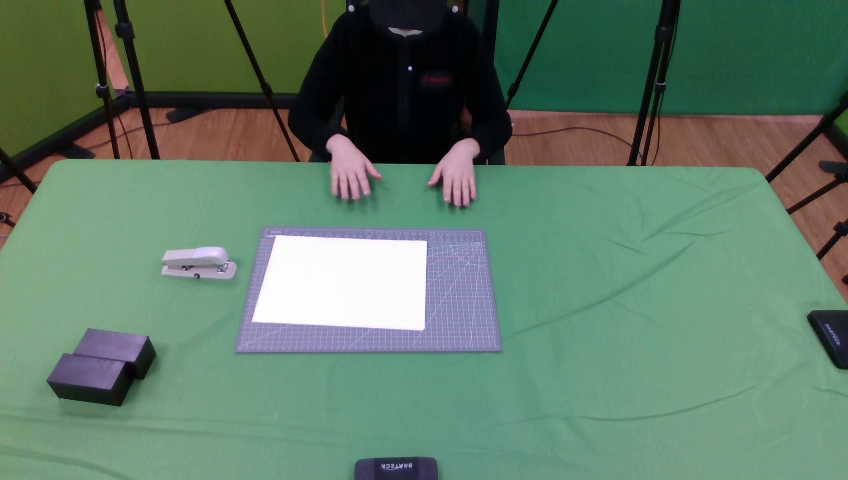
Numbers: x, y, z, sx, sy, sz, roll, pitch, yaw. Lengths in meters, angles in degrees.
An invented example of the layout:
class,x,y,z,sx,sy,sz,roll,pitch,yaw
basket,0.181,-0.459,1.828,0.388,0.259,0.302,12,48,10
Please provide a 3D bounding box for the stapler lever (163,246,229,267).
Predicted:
class,x,y,z,sx,sy,sz,roll,pitch,yaw
stapler lever,-0.415,0.029,1.103,0.118,0.040,0.026,3,43,0

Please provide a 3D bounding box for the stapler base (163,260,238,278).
class,x,y,z,sx,sy,sz,roll,pitch,yaw
stapler base,-0.415,0.046,1.120,0.130,0.024,0.041,2,43,0
